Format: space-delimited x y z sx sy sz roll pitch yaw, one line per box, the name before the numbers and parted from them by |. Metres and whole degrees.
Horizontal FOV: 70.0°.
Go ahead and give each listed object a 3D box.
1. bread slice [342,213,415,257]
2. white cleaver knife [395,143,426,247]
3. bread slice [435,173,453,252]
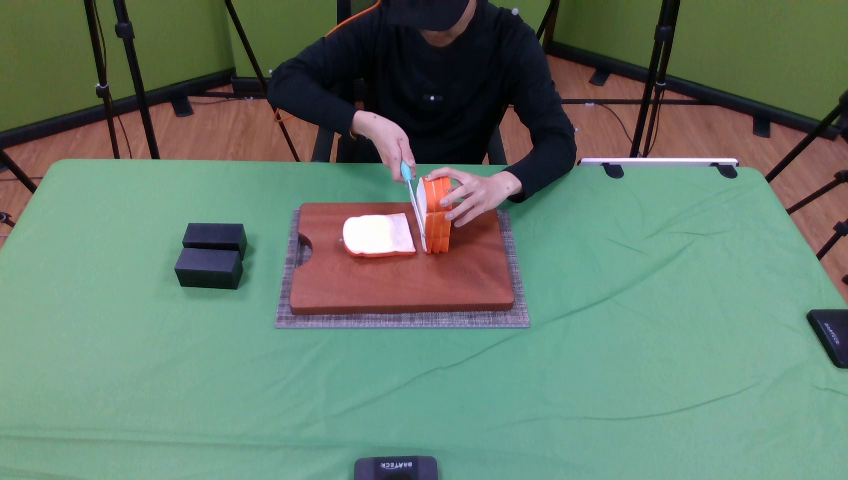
bread slice | -0.091 -0.009 1.154 0.132 0.019 0.104 -3 48 -14
white cleaver knife | -0.027 -0.091 1.175 0.021 0.066 0.284 -10 44 -4
bread slice | 0.037 -0.056 1.137 0.018 0.135 0.106 -4 48 -7
